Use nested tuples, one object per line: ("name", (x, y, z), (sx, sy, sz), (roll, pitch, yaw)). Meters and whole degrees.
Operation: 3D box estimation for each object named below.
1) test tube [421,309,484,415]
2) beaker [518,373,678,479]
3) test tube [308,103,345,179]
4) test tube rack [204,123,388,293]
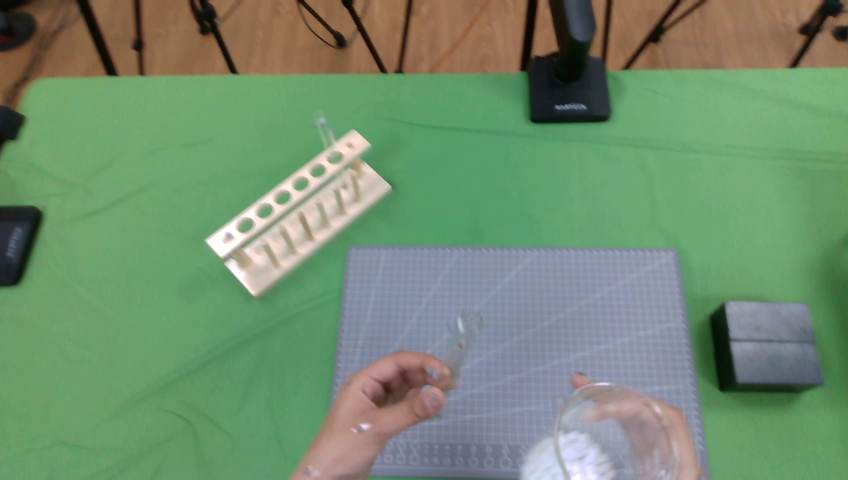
("test tube", (0.018, 0.095, 0.445), (0.017, 0.151, 0.017), (7, 51, -8))
("beaker", (0.103, 0.142, 0.388), (0.073, 0.101, 0.084), (33, 59, 14))
("test tube", (-0.125, -0.125, 0.796), (0.017, 0.151, 0.017), (-2, 62, 5))
("test tube rack", (-0.163, -0.044, 0.815), (0.242, 0.086, 0.066), (-41, 70, -16))
